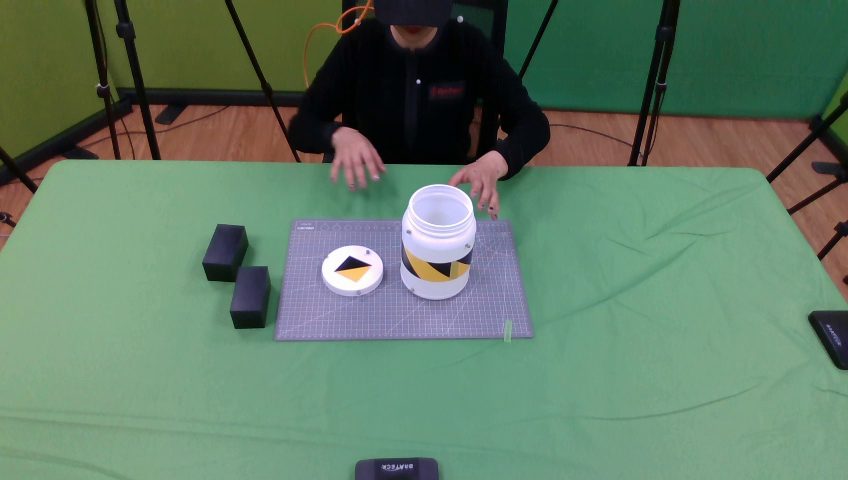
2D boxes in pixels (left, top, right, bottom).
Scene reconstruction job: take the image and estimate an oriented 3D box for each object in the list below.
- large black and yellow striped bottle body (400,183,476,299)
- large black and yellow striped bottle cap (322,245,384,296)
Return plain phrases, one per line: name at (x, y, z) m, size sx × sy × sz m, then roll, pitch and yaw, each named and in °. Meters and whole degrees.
large black and yellow striped bottle body at (0.024, 0.003, 1.079) m, size 0.131 × 0.185 × 0.130 m, roll 2°, pitch 46°, yaw -2°
large black and yellow striped bottle cap at (-0.133, 0.055, 1.135) m, size 0.115 × 0.019 × 0.114 m, roll 2°, pitch 47°, yaw -2°
